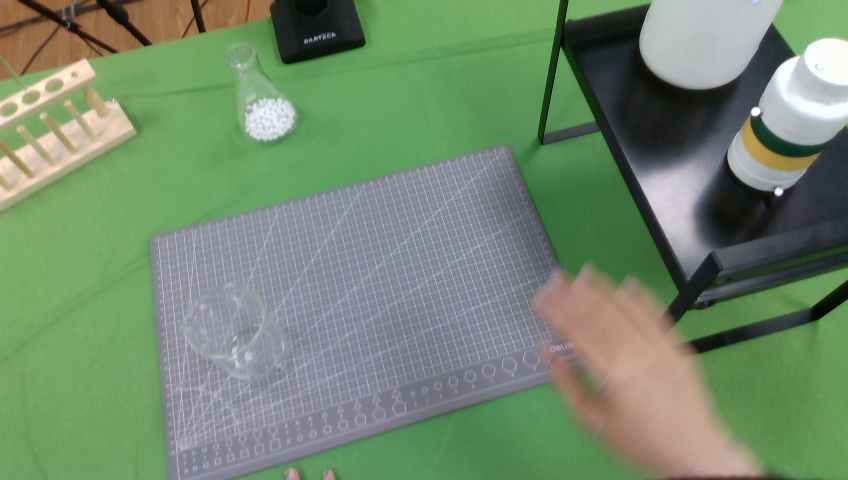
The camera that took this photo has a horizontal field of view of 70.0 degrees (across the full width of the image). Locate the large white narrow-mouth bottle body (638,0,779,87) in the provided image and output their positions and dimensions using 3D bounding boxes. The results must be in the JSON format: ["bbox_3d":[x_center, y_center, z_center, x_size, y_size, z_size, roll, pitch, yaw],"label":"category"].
[{"bbox_3d":[0.248,-0.224,0.498,0.102,0.196,0.101,-2,63,4],"label":"large white narrow-mouth bottle body"}]

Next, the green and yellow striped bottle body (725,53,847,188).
[{"bbox_3d":[0.289,-0.098,0.473,0.063,0.120,0.062,-1,63,3],"label":"green and yellow striped bottle body"}]

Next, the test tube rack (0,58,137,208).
[{"bbox_3d":[-0.497,-0.119,0.747,0.242,0.086,0.066,-35,66,-14],"label":"test tube rack"}]

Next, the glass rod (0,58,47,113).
[{"bbox_3d":[-0.482,-0.191,0.708,0.008,0.201,0.008,-4,55,6],"label":"glass rod"}]

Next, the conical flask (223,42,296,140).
[{"bbox_3d":[-0.208,-0.186,0.746,0.075,0.123,0.074,-1,62,3],"label":"conical flask"}]

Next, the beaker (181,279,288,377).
[{"bbox_3d":[-0.186,0.094,0.613,0.084,0.101,0.073,-6,62,1],"label":"beaker"}]

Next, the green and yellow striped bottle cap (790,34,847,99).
[{"bbox_3d":[0.285,-0.123,0.427,0.045,0.020,0.045,-1,65,2],"label":"green and yellow striped bottle cap"}]
